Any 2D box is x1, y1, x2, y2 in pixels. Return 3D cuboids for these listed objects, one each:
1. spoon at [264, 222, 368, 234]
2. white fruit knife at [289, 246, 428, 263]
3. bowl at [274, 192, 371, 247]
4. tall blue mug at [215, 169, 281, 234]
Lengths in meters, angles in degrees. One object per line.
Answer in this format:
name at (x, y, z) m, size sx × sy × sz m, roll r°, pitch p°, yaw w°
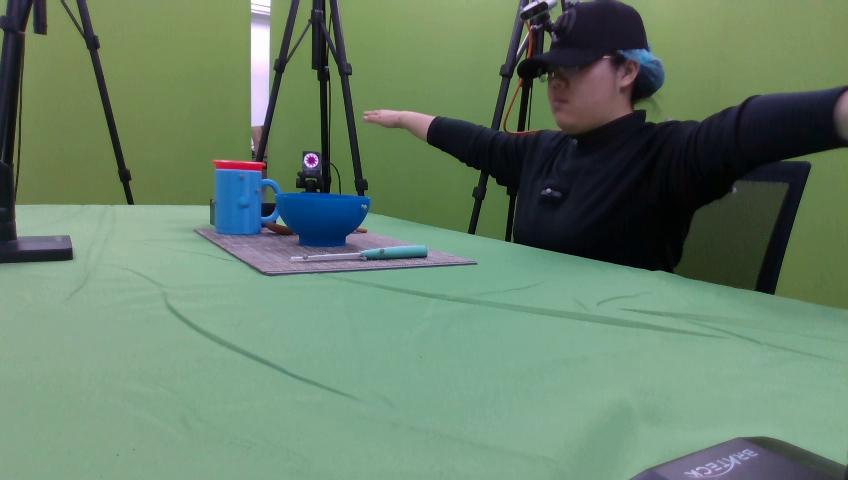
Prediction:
spoon at (-0.191, -0.023, 1.090) m, size 0.195 × 0.021 × 0.041 m, roll -2°, pitch -9°, yaw -29°
white fruit knife at (-0.082, 0.022, 0.822) m, size 0.208 × 0.016 × 0.027 m, roll -3°, pitch -20°, yaw -30°
bowl at (-0.161, -0.033, 0.958) m, size 0.151 × 0.077 × 0.151 m, roll 3°, pitch 8°, yaw 0°
tall blue mug at (-0.313, -0.069, 1.061) m, size 0.077 × 0.108 × 0.108 m, roll 6°, pitch 8°, yaw 31°
